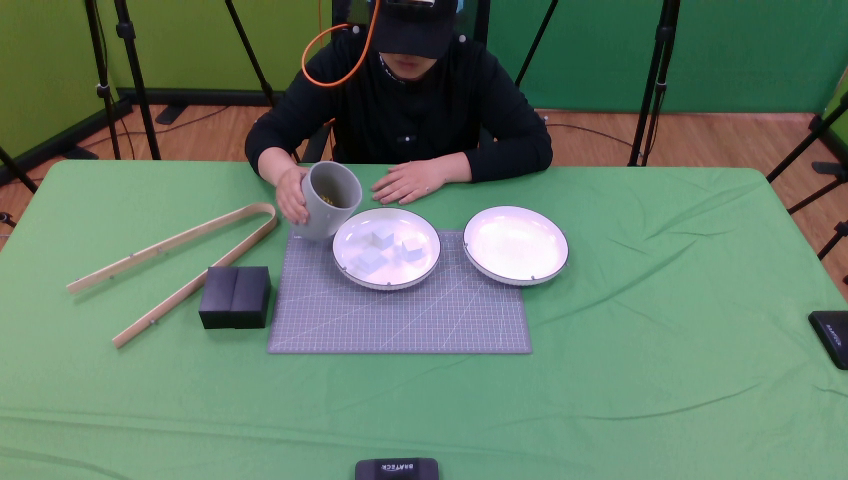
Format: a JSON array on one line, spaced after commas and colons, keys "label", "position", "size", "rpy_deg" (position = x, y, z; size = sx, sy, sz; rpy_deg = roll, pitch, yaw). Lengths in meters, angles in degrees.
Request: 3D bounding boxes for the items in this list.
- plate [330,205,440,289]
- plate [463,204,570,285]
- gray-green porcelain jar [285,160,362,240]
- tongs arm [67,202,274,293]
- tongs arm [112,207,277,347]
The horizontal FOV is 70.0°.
[{"label": "plate", "position": [-0.074, 0.017, 1.161], "size": [0.208, 0.039, 0.206], "rpy_deg": [2, 47, -2]}, {"label": "plate", "position": [0.178, 0.012, 1.184], "size": [0.209, 0.038, 0.208], "rpy_deg": [3, 46, -3]}, {"label": "gray-green porcelain jar", "position": [-0.188, -0.068, 1.109], "size": [0.106, 0.126, 0.105], "rpy_deg": [20, 51, -26]}, {"label": "tongs arm", "position": [-0.461, 0.013, 1.142], "size": [0.385, 0.026, 0.050], "rpy_deg": [-31, 56, -31]}, {"label": "tongs arm", "position": [-0.401, 0.058, 1.108], "size": [0.028, 0.028, 0.387], "rpy_deg": [26, 49, 23]}]
